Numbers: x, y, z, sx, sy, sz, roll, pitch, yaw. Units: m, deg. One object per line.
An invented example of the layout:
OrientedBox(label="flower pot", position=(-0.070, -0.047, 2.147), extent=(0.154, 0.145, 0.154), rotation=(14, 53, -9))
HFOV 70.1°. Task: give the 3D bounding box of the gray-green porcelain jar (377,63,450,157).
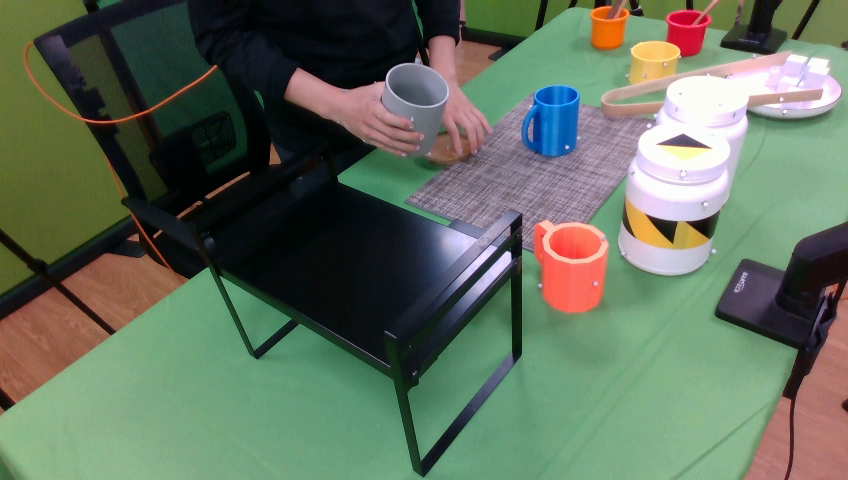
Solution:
OrientedBox(label="gray-green porcelain jar", position=(-0.021, -0.211, 1.010), extent=(0.106, 0.126, 0.105), rotation=(8, 53, -10))

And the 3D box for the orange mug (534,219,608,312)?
OrientedBox(label="orange mug", position=(0.200, 0.027, 0.858), extent=(0.084, 0.101, 0.125), rotation=(-24, 47, -18))

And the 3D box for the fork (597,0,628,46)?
OrientedBox(label="fork", position=(0.479, -0.558, 1.455), extent=(0.028, 0.019, 0.207), rotation=(35, 100, 38))

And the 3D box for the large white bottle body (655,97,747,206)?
OrientedBox(label="large white bottle body", position=(0.430, -0.148, 0.959), extent=(0.130, 0.185, 0.130), rotation=(-4, 41, 4))

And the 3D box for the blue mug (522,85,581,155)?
OrientedBox(label="blue mug", position=(0.233, -0.218, 1.127), extent=(0.117, 0.106, 0.081), rotation=(-23, 43, -16))

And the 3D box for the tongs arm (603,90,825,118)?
OrientedBox(label="tongs arm", position=(0.546, -0.262, 1.163), extent=(0.386, 0.028, 0.028), rotation=(-1, 49, 18))

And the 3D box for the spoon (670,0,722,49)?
OrientedBox(label="spoon", position=(0.639, -0.510, 1.380), extent=(0.193, 0.022, 0.041), rotation=(-49, 40, 19))

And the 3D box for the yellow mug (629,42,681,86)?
OrientedBox(label="yellow mug", position=(0.495, -0.388, 1.321), extent=(0.100, 0.064, 0.130), rotation=(-14, 40, -6))

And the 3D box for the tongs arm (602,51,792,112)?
OrientedBox(label="tongs arm", position=(0.552, -0.320, 1.224), extent=(0.384, 0.027, 0.050), rotation=(-10, 43, 7))

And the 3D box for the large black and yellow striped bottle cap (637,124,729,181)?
OrientedBox(label="large black and yellow striped bottle cap", position=(0.346, -0.119, 0.810), extent=(0.115, 0.019, 0.114), rotation=(-5, 41, 5))

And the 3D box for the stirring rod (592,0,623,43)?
OrientedBox(label="stirring rod", position=(0.460, -0.557, 1.461), extent=(0.014, 0.176, 0.006), rotation=(35, 11, 22))

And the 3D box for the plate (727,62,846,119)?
OrientedBox(label="plate", position=(0.709, -0.292, 1.197), extent=(0.207, 0.039, 0.206), rotation=(-4, 40, 4))

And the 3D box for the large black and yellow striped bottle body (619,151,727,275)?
OrientedBox(label="large black and yellow striped bottle body", position=(0.354, -0.056, 0.865), extent=(0.131, 0.185, 0.130), rotation=(-4, 41, 4))

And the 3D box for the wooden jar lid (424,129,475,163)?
OrientedBox(label="wooden jar lid", position=(0.047, -0.183, 1.182), extent=(0.108, 0.021, 0.108), rotation=(-5, 37, 5))

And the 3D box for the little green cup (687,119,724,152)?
OrientedBox(label="little green cup", position=(0.513, -0.191, 1.109), extent=(0.061, 0.039, 0.061), rotation=(-5, 40, 5))

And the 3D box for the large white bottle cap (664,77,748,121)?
OrientedBox(label="large white bottle cap", position=(0.421, -0.212, 0.905), extent=(0.115, 0.018, 0.114), rotation=(-4, 40, 4))
